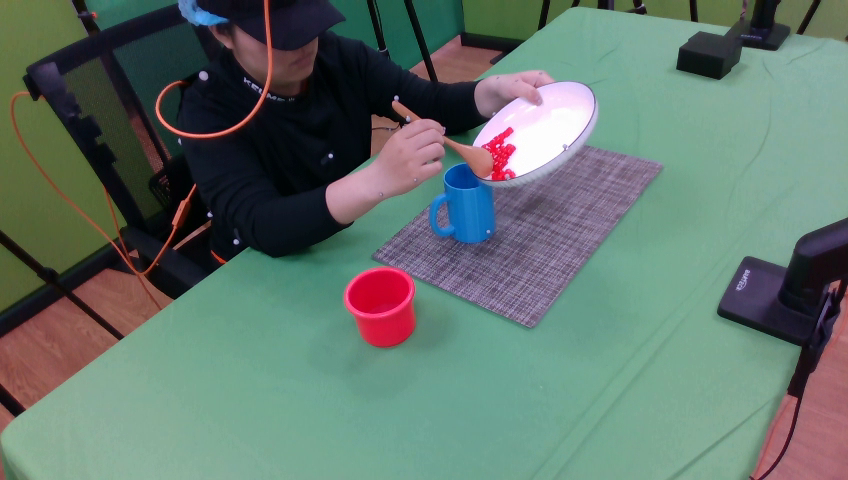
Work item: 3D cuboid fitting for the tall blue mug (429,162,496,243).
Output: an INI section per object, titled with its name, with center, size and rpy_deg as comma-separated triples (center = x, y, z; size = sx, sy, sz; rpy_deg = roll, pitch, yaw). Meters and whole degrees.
[tall blue mug]
center = 0.067, -0.051, 0.960
size = 0.077, 0.108, 0.107
rpy_deg = 18, 47, 27

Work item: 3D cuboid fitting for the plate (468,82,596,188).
[plate]
center = 0.163, -0.152, 0.906
size = 0.207, 0.039, 0.206
rpy_deg = -26, 36, 22

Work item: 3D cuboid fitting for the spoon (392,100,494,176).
[spoon]
center = 0.031, -0.146, 0.870
size = 0.021, 0.195, 0.041
rpy_deg = 14, 79, 63
